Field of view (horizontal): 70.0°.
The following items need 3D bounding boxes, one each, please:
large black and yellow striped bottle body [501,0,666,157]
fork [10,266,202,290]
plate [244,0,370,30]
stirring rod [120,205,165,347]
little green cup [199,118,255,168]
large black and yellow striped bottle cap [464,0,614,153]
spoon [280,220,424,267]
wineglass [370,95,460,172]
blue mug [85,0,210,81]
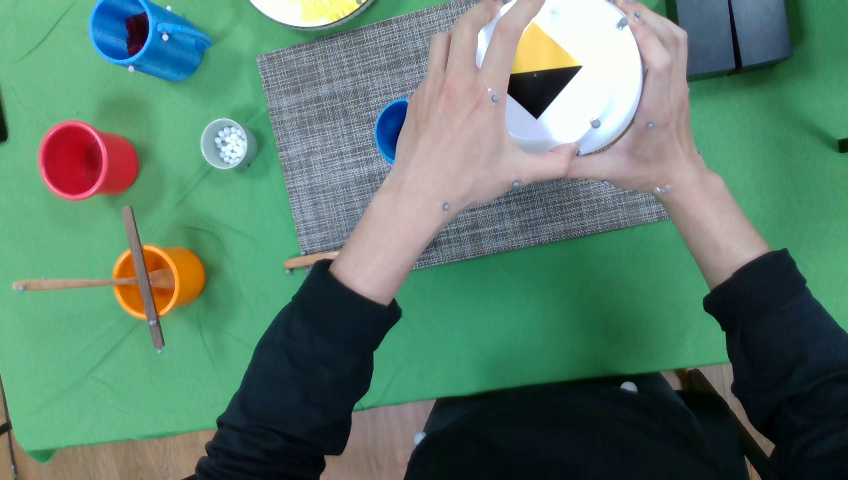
[{"bbox_3d":[0.127,-0.142,0.523,0.130,0.184,0.131,9,107,29],"label":"large black and yellow striped bottle body"},{"bbox_3d":[-0.381,0.049,0.742,0.208,0.018,0.028,-2,103,-33],"label":"fork"},{"bbox_3d":[-0.135,-0.354,0.721,0.209,0.038,0.209,1,96,9],"label":"plate"},{"bbox_3d":[-0.340,0.044,0.732,0.014,0.006,0.176,-12,93,12],"label":"stirring rod"},{"bbox_3d":[-0.244,-0.120,0.760,0.061,0.038,0.061,1,95,11],"label":"little green cup"},{"bbox_3d":[0.083,-0.123,0.454,0.114,0.019,0.115,7,105,28],"label":"large black and yellow striped bottle cap"},{"bbox_3d":[-0.092,0.010,0.749,0.193,0.021,0.042,-13,113,11],"label":"spoon"},{"bbox_3d":[-0.004,-0.108,0.647,0.073,0.172,0.074,1,94,10],"label":"wineglass"},{"bbox_3d":[-0.319,-0.243,0.728,0.116,0.106,0.082,2,95,10],"label":"blue mug"}]
